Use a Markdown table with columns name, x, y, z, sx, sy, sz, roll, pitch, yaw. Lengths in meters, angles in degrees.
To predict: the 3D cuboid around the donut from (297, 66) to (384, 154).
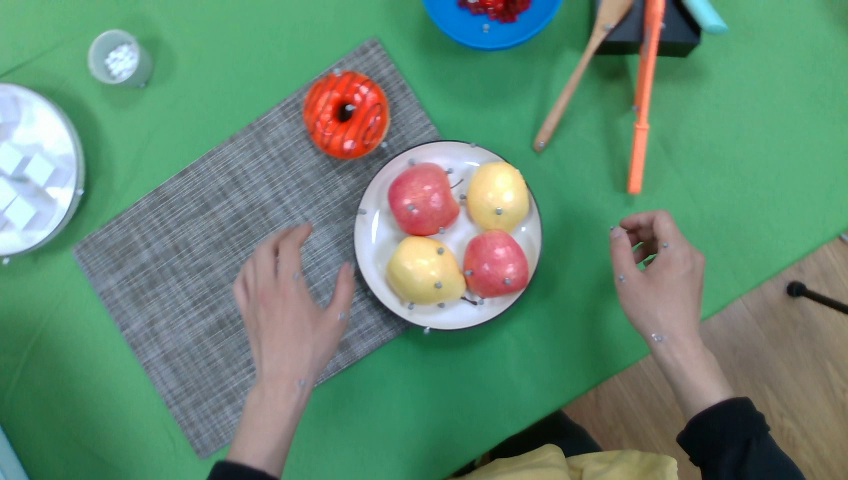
| name | x | y | z | sx | sy | sz | roll | pitch | yaw |
| --- | --- | --- | --- | --- | --- | --- | --- | --- | --- |
| donut | -0.093 | -0.144 | 0.675 | 0.099 | 0.048 | 0.099 | 0 | 93 | 8 |

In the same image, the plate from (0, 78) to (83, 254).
| name | x | y | z | sx | sy | sz | roll | pitch | yaw |
| --- | --- | --- | --- | --- | --- | --- | --- | --- | --- |
| plate | -0.502 | -0.086 | 0.725 | 0.207 | 0.039 | 0.207 | 0 | 91 | 6 |

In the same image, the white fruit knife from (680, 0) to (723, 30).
| name | x | y | z | sx | sy | sz | roll | pitch | yaw |
| --- | --- | --- | --- | --- | --- | --- | --- | --- | --- |
| white fruit knife | 0.234 | -0.296 | 0.607 | 0.027 | 0.016 | 0.207 | -30 | 86 | -23 |

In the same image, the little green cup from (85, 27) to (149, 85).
| name | x | y | z | sx | sy | sz | roll | pitch | yaw |
| --- | --- | --- | --- | --- | --- | --- | --- | --- | --- |
| little green cup | -0.356 | -0.211 | 0.707 | 0.061 | 0.038 | 0.061 | 0 | 91 | 6 |

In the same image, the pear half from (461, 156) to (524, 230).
| name | x | y | z | sx | sy | sz | roll | pitch | yaw |
| --- | --- | --- | --- | --- | --- | --- | --- | --- | --- |
| pear half | 0.069 | -0.045 | 0.650 | 0.070 | 0.031 | 0.088 | 2 | 106 | 30 |

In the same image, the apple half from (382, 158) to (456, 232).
| name | x | y | z | sx | sy | sz | roll | pitch | yaw |
| --- | --- | --- | --- | --- | --- | --- | --- | --- | --- |
| apple half | -0.008 | -0.047 | 0.654 | 0.074 | 0.053 | 0.081 | -15 | 93 | 6 |

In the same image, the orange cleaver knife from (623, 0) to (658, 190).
| name | x | y | z | sx | sy | sz | roll | pitch | yaw |
| --- | --- | --- | --- | --- | --- | --- | --- | --- | --- |
| orange cleaver knife | 0.222 | -0.159 | 0.627 | 0.012 | 0.077 | 0.213 | 4 | 117 | 11 |

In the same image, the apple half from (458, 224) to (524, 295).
| name | x | y | z | sx | sy | sz | roll | pitch | yaw |
| --- | --- | --- | --- | --- | --- | --- | --- | --- | --- |
| apple half | 0.064 | 0.024 | 0.648 | 0.081 | 0.033 | 0.081 | 7 | 104 | 28 |

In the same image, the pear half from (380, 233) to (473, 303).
| name | x | y | z | sx | sy | sz | roll | pitch | yaw |
| --- | --- | --- | --- | --- | --- | --- | --- | --- | --- |
| pear half | 0.007 | 0.039 | 0.659 | 0.110 | 0.056 | 0.076 | 29 | 98 | 0 |

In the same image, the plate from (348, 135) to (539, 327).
| name | x | y | z | sx | sy | sz | roll | pitch | yaw |
| --- | --- | --- | --- | --- | --- | --- | --- | --- | --- |
| plate | 0.021 | -0.009 | 0.670 | 0.209 | 0.038 | 0.209 | 0 | 91 | 6 |

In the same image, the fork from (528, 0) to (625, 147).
| name | x | y | z | sx | sy | sz | roll | pitch | yaw |
| --- | --- | --- | --- | --- | --- | --- | --- | --- | --- |
| fork | 0.160 | -0.188 | 0.630 | 0.028 | 0.018 | 0.208 | 25 | 114 | -3 |

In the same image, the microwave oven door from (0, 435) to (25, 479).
| name | x | y | z | sx | sy | sz | roll | pitch | yaw |
| --- | --- | --- | --- | --- | --- | --- | --- | --- | --- |
| microwave oven door | -0.497 | 0.313 | 0.614 | 0.039 | 0.244 | 0.355 | -31 | 88 | 5 |

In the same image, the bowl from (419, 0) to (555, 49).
| name | x | y | z | sx | sy | sz | roll | pitch | yaw |
| --- | --- | --- | --- | --- | --- | --- | --- | --- | --- |
| bowl | 0.068 | -0.271 | 0.643 | 0.151 | 0.077 | 0.151 | 0 | 92 | 6 |
